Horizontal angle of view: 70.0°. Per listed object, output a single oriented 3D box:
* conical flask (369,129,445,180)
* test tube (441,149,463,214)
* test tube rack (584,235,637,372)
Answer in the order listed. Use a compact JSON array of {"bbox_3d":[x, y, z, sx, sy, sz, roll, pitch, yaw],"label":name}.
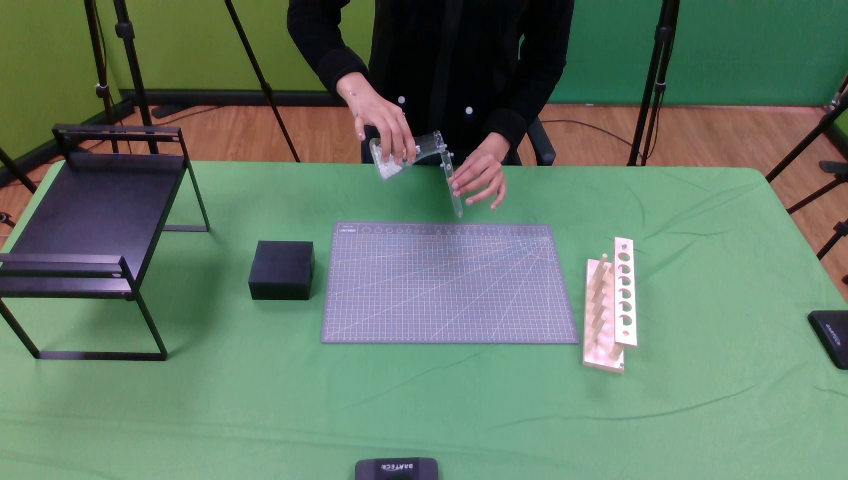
[{"bbox_3d":[-0.027,-0.153,1.024,0.122,0.076,0.075,-17,49,-1],"label":"conical flask"},{"bbox_3d":[0.052,-0.102,1.092,0.017,0.151,0.017,-9,45,9],"label":"test tube"},{"bbox_3d":[0.329,0.103,1.073,0.067,0.085,0.241,10,47,7],"label":"test tube rack"}]
